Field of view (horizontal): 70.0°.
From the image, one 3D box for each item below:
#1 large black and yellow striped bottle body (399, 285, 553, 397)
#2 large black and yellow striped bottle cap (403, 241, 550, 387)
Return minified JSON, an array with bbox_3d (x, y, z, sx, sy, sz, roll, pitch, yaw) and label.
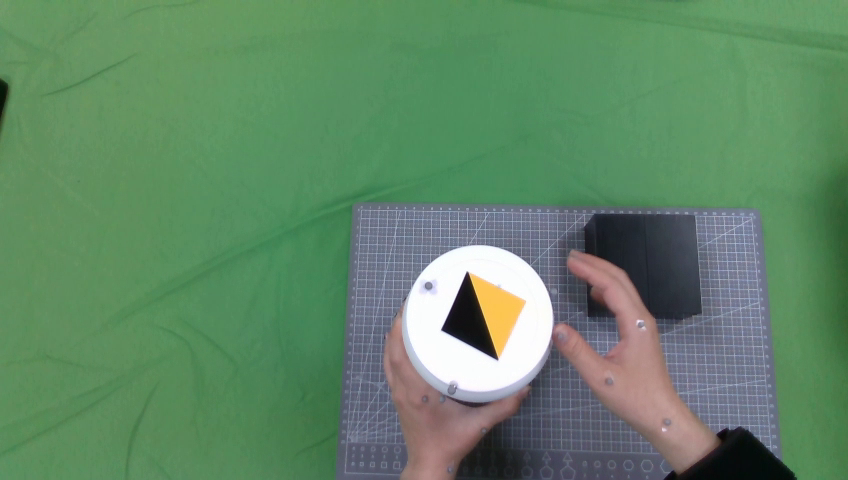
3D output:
[{"bbox_3d":[0.046,0.078,0.559,0.131,0.185,0.130,0,77,2],"label":"large black and yellow striped bottle body"},{"bbox_3d":[0.040,0.057,0.473,0.115,0.019,0.114,-1,79,4],"label":"large black and yellow striped bottle cap"}]
